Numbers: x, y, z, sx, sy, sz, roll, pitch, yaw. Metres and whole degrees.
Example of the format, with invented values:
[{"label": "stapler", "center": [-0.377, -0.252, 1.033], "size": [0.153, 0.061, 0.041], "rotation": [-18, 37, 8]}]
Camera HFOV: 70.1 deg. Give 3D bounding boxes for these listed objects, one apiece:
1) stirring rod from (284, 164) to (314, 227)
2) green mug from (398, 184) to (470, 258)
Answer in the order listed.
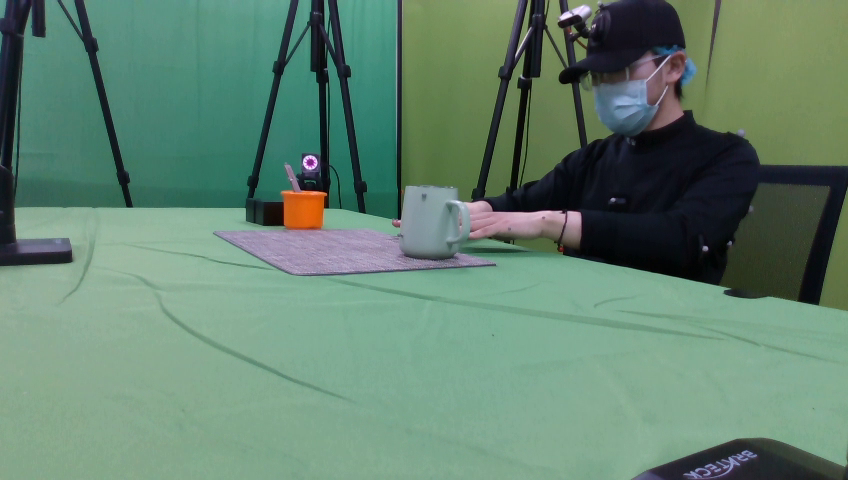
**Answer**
[{"label": "stirring rod", "center": [-0.259, -0.094, 1.243], "size": [0.014, 0.006, 0.175], "rotation": [1, 49, -39]}, {"label": "green mug", "center": [0.020, -0.028, 0.890], "size": [0.093, 0.105, 0.124], "rotation": [-4, 10, -42]}]
